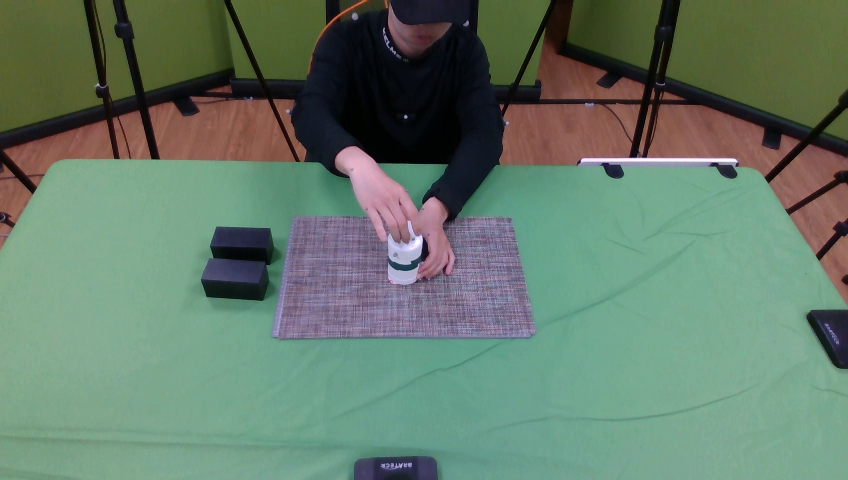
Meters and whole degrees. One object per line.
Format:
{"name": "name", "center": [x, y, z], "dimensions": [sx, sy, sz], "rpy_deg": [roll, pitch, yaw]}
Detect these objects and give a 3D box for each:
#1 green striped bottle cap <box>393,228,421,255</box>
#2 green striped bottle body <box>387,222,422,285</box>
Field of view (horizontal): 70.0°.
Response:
{"name": "green striped bottle cap", "center": [-0.029, 0.002, 1.022], "dimensions": [0.044, 0.044, 0.020], "rpy_deg": [-18, 42, -20]}
{"name": "green striped bottle body", "center": [-0.036, 0.021, 1.102], "dimensions": [0.063, 0.120, 0.063], "rpy_deg": [2, 46, -2]}
